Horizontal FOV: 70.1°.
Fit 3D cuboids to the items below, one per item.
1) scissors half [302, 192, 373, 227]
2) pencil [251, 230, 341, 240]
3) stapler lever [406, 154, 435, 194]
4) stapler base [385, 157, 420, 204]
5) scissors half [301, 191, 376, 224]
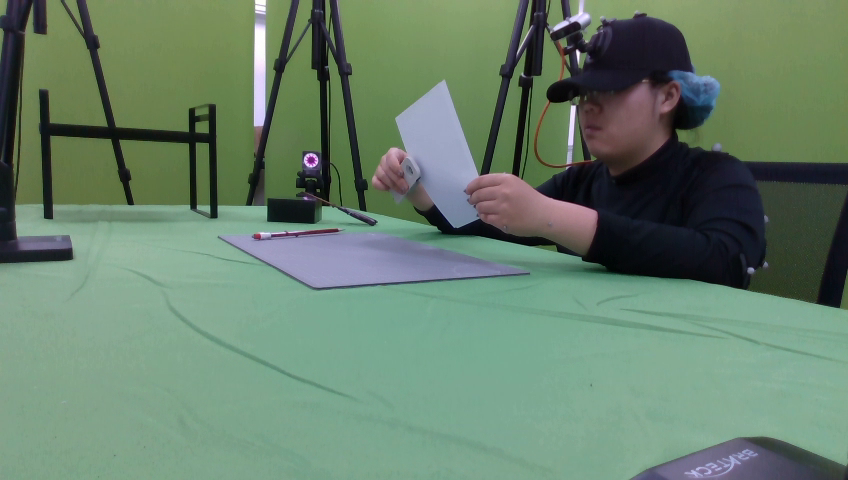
[{"bbox_3d":[-0.191,-0.068,1.314,0.175,0.013,0.040,26,16,7],"label":"scissors half"},{"bbox_3d":[-0.215,-0.011,1.049,0.012,0.012,0.195,9,9,39],"label":"pencil"},{"bbox_3d":[-0.015,-0.113,1.045,0.040,0.027,0.118,-26,-7,-24],"label":"stapler lever"},{"bbox_3d":[-0.032,-0.104,1.034,0.024,0.041,0.130,-26,-7,-27],"label":"stapler base"},{"bbox_3d":[-0.189,-0.073,1.333,0.175,0.013,0.040,22,11,-10],"label":"scissors half"}]
